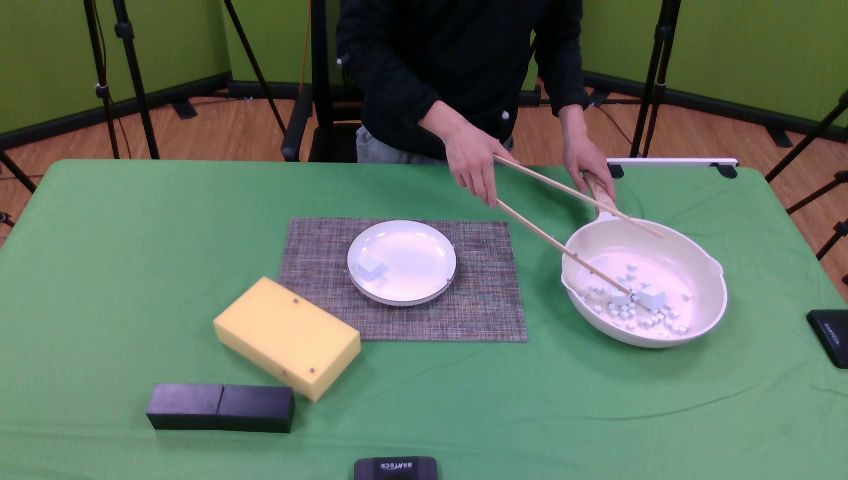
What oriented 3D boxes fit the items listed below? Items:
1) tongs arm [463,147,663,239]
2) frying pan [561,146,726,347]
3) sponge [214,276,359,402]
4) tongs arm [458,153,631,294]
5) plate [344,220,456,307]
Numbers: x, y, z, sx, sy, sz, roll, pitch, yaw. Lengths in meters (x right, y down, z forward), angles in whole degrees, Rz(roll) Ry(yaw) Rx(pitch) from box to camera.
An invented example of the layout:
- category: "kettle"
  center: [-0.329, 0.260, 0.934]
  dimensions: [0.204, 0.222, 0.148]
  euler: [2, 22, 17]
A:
- category: "tongs arm"
  center: [0.250, -0.086, 1.100]
  dimensions: [0.387, 0.028, 0.028]
  euler: [26, 87, 6]
- category: "frying pan"
  center: [0.378, -0.005, 1.175]
  dimensions: [0.307, 0.103, 0.484]
  euler: [-4, 55, -9]
- category: "sponge"
  center: [-0.225, 0.158, 0.998]
  dimensions: [0.206, 0.061, 0.118]
  euler: [27, 52, 18]
- category: "tongs arm"
  center: [0.215, -0.031, 1.092]
  dimensions: [0.384, 0.026, 0.050]
  euler: [34, 85, 7]
- category: "plate"
  center: [-0.045, 0.047, 1.133]
  dimensions: [0.208, 0.039, 0.206]
  euler: [3, 46, -2]
